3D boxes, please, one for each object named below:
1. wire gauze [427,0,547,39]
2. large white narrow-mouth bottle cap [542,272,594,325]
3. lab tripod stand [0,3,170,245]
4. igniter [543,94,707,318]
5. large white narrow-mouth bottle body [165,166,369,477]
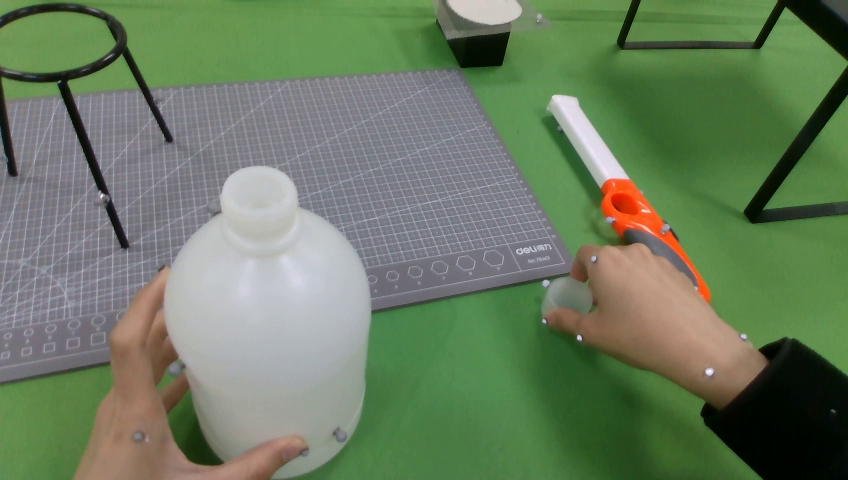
[{"bbox_3d":[0.060,-0.262,0.674,0.122,0.011,0.123,-7,51,-18],"label":"wire gauze"},{"bbox_3d":[0.111,0.045,0.467,0.038,0.024,0.037,5,48,-5],"label":"large white narrow-mouth bottle cap"},{"bbox_3d":[-0.251,-0.088,0.443,0.149,0.132,0.147,6,48,-7],"label":"lab tripod stand"},{"bbox_3d":[0.176,-0.043,0.552,0.057,0.025,0.273,0,48,-24],"label":"igniter"},{"bbox_3d":[-0.080,0.043,0.319,0.102,0.196,0.101,4,48,-5],"label":"large white narrow-mouth bottle body"}]
